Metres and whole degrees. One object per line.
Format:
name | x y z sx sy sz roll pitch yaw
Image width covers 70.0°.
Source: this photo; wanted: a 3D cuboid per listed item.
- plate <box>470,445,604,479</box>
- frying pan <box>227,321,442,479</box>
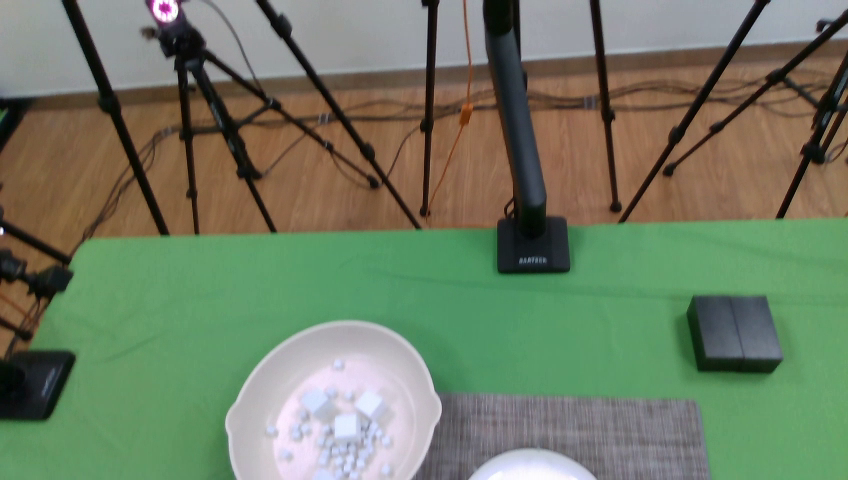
plate | 0.143 0.365 0.757 0.207 0.039 0.205 -5 54 7
frying pan | -0.128 0.331 0.788 0.306 0.104 0.483 -5 45 9
